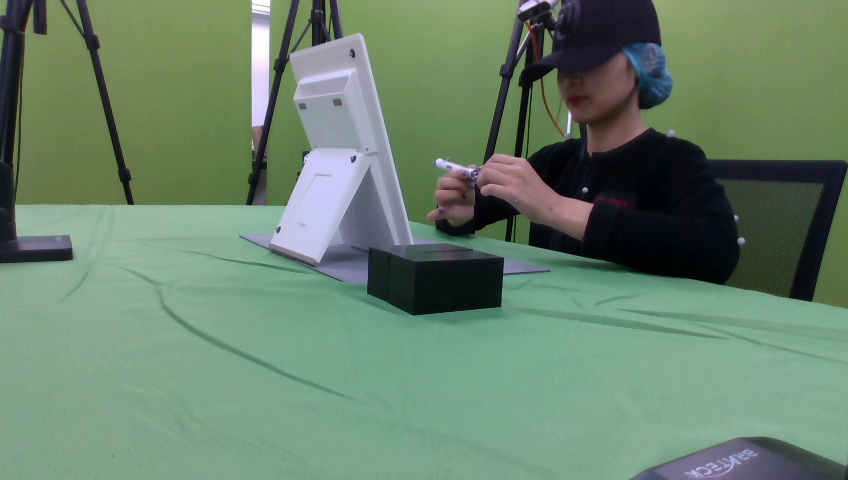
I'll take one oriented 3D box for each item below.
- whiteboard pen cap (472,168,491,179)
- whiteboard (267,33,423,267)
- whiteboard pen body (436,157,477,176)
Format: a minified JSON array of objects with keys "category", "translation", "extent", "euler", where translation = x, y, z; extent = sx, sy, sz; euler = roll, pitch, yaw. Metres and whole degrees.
[{"category":"whiteboard pen cap","translation":[0.092,-0.107,0.972],"extent":[0.018,0.018,0.033],"euler":[-3,11,-33]},{"category":"whiteboard","translation":[-0.153,-0.098,0.819],"extent":[0.144,0.305,0.216],"euler":[-25,21,-29]},{"category":"whiteboard pen body","translation":[0.061,-0.123,1.022],"extent":[0.017,0.017,0.140],"euler":[-2,16,-31]}]
